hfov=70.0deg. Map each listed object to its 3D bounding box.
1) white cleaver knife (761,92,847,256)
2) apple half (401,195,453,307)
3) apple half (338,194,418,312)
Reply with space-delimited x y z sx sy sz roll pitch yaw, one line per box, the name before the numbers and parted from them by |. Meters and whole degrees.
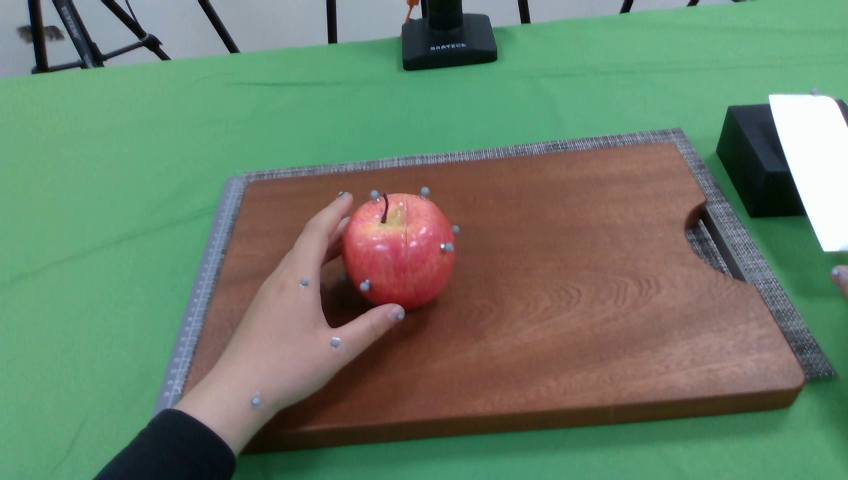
white cleaver knife | 0.319 -0.011 0.454 0.066 0.022 0.283 -5 55 7
apple half | 0.005 0.007 0.431 0.033 0.082 0.080 -9 43 5
apple half | -0.033 0.012 0.433 0.053 0.075 0.080 -8 45 5
